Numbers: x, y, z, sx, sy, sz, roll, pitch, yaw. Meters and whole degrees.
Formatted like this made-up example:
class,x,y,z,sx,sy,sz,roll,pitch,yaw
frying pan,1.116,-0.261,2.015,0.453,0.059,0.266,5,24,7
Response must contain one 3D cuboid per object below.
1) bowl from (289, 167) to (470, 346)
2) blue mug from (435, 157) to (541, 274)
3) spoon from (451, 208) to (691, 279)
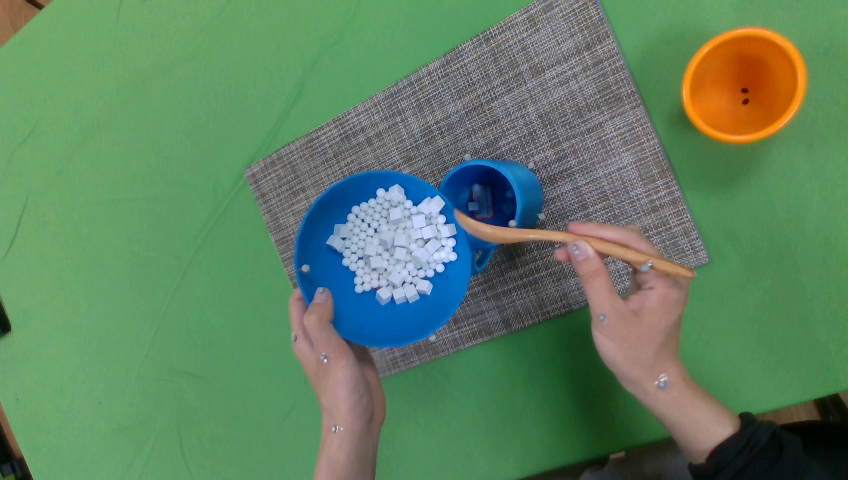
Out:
class,x,y,z,sx,sy,sz,roll,pitch,yaw
bowl,-0.042,0.018,0.535,0.152,0.077,0.151,2,81,-12
blue mug,0.060,-0.023,0.594,0.082,0.106,0.117,17,103,18
spoon,0.100,0.000,0.454,0.192,0.042,0.021,11,76,34
